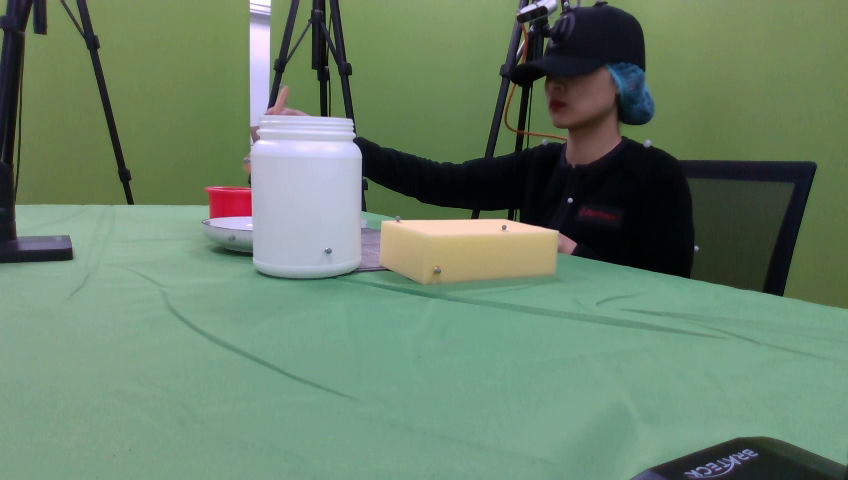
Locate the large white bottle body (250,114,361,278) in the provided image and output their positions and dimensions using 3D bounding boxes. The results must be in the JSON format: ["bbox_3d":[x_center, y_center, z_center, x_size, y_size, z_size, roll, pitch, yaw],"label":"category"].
[{"bbox_3d":[-0.141,-0.057,0.727,0.131,0.184,0.130,1,10,0],"label":"large white bottle body"}]

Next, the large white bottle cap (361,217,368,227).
[{"bbox_3d":[-0.171,-0.038,1.234,0.115,0.018,0.115,2,5,0],"label":"large white bottle cap"}]

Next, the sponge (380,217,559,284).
[{"bbox_3d":[0.059,0.008,0.786,0.208,0.061,0.117,-3,11,-32],"label":"sponge"}]

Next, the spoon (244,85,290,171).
[{"bbox_3d":[-0.274,-0.202,1.088,0.041,0.193,0.021,16,-20,-1],"label":"spoon"}]

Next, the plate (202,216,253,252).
[{"bbox_3d":[-0.223,-0.010,0.909,0.209,0.038,0.209,2,7,0],"label":"plate"}]
